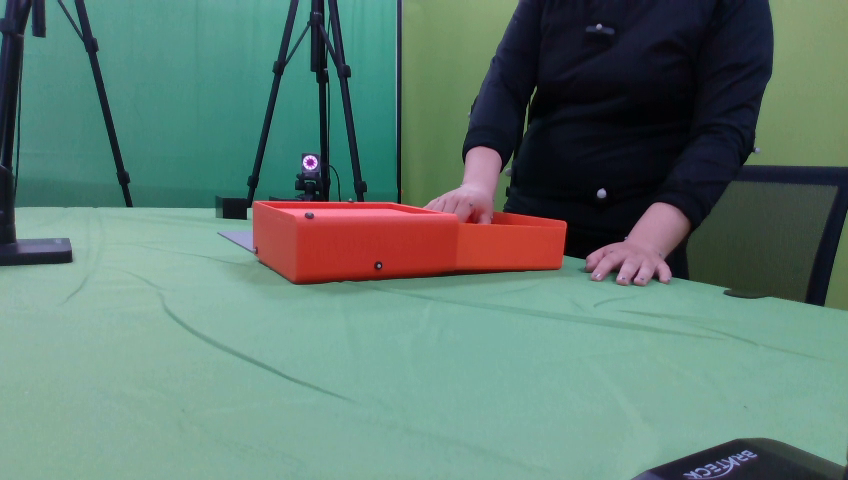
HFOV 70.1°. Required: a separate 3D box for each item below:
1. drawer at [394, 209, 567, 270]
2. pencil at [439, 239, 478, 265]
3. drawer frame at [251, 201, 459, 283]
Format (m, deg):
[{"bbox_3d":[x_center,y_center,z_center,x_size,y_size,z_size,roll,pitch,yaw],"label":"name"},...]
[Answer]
[{"bbox_3d":[0.063,-0.006,0.878,0.213,0.073,0.193,2,7,-30],"label":"drawer"},{"bbox_3d":[0.054,0.013,0.871,0.012,0.012,0.194,5,10,18],"label":"pencil"},{"bbox_3d":[-0.095,-0.005,0.788,0.215,0.082,0.200,-2,10,-30],"label":"drawer frame"}]
